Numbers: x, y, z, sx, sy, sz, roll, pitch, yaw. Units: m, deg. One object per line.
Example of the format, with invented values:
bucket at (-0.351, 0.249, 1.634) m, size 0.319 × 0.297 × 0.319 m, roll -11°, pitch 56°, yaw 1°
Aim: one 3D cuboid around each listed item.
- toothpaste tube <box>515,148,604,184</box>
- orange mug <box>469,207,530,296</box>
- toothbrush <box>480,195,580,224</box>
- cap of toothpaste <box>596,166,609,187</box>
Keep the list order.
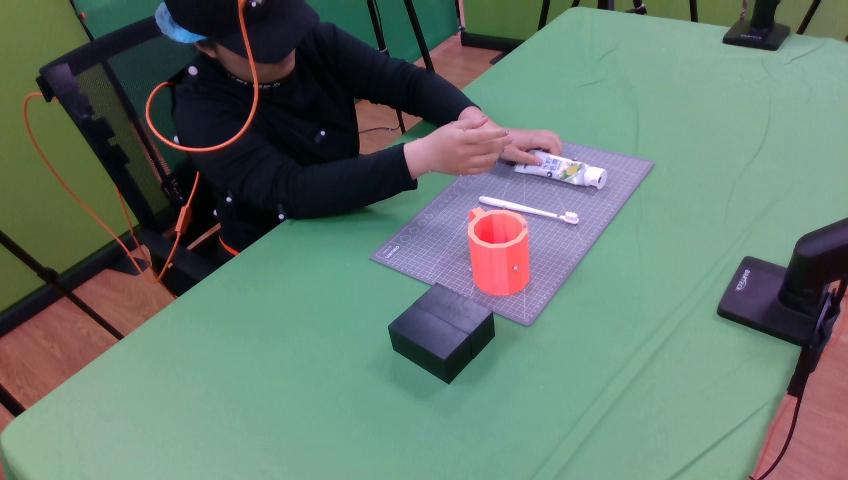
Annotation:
toothpaste tube at (0.244, -0.130, 1.077) m, size 0.164 × 0.035 × 0.055 m, roll 17°, pitch 70°, yaw 34°
orange mug at (0.104, 0.008, 0.894) m, size 0.084 × 0.101 × 0.125 m, roll -22°, pitch 46°, yaw -14°
toothbrush at (0.175, -0.054, 1.016) m, size 0.180 × 0.017 × 0.014 m, roll 15°, pitch 60°, yaw 29°
cap of toothpaste at (0.303, -0.109, 1.033) m, size 0.011 × 0.037 × 0.037 m, roll 21°, pitch 49°, yaw 38°
